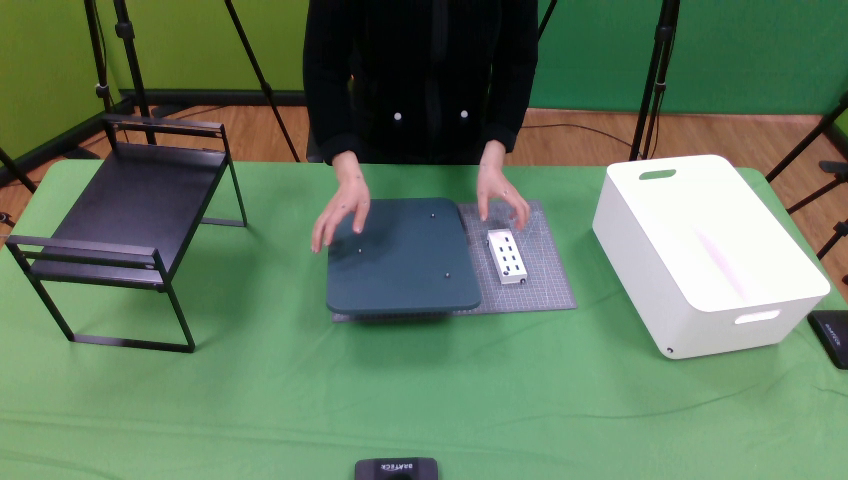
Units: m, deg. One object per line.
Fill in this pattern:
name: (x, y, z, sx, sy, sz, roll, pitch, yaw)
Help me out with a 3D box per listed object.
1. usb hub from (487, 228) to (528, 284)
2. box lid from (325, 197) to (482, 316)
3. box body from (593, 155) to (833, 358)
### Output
usb hub: (0.159, 0.030, 1.173, 0.049, 0.025, 0.124, -6, 46, -8)
box lid: (-0.047, 0.015, 1.130, 0.263, 0.015, 0.369, -1, 33, -6)
box body: (0.497, 0.023, 1.112, 0.254, 0.161, 0.361, -7, 47, -10)
